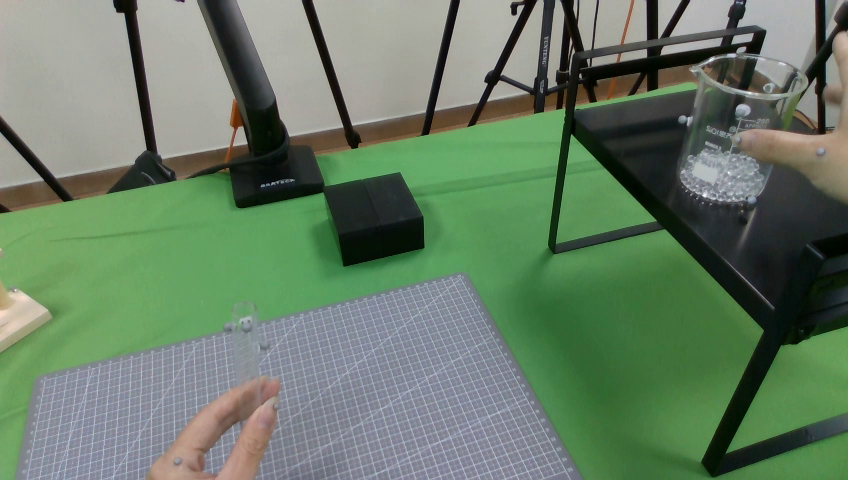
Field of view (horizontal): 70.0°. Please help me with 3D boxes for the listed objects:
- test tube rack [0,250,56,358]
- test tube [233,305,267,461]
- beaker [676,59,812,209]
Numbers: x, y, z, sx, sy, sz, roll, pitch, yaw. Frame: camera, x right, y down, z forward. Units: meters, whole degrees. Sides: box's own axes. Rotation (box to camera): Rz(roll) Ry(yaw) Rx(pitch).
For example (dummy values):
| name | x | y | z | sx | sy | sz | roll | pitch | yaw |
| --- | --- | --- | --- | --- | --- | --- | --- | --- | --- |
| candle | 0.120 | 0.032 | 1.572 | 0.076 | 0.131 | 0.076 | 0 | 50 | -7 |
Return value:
| name | x | y | z | sx | sy | sz | roll | pitch | yaw |
| --- | --- | --- | --- | --- | --- | --- | --- | --- | --- |
| test tube rack | -0.496 | 0.109 | 0.570 | 0.066 | 0.086 | 0.242 | 23 | 45 | 27 |
| test tube | -0.119 | 0.104 | 0.419 | 0.017 | 0.151 | 0.017 | 6 | 36 | -4 |
| beaker | 0.244 | -0.082 | 0.480 | 0.083 | 0.101 | 0.074 | 22 | 45 | 28 |
